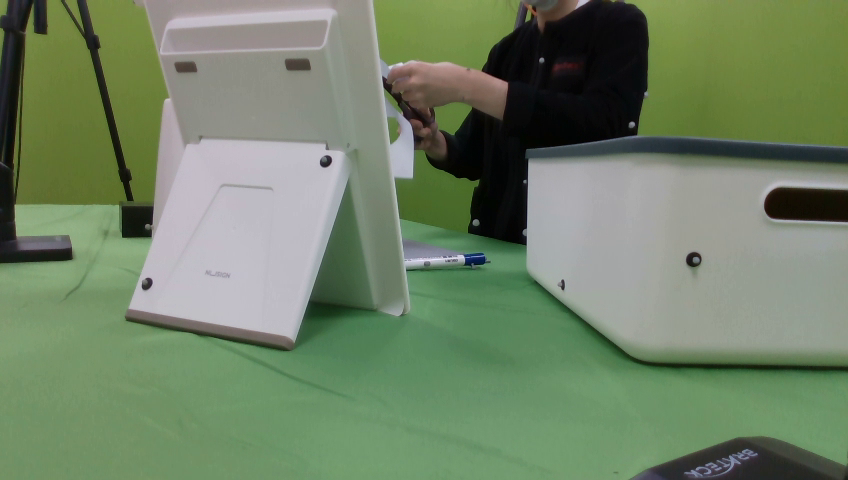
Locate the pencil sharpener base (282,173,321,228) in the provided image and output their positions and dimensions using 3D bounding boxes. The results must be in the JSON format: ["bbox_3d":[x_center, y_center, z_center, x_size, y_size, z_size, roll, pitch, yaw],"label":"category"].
[{"bbox_3d":[-0.247,-0.080,1.212,0.061,0.107,0.076,-2,5,-28],"label":"pencil sharpener base"}]

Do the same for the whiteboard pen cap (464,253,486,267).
[{"bbox_3d":[0.066,0.027,0.818,0.033,0.018,0.018,-5,10,-24],"label":"whiteboard pen cap"}]

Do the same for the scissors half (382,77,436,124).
[{"bbox_3d":[-0.035,-0.253,1.051,0.013,0.040,0.176,9,-11,43],"label":"scissors half"}]

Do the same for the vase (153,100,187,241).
[{"bbox_3d":[-0.278,-0.066,0.736,0.098,0.200,0.098,2,9,0],"label":"vase"}]

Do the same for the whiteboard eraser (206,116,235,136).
[{"bbox_3d":[-0.450,-0.252,1.335,0.056,0.042,0.112,1,7,-22],"label":"whiteboard eraser"}]

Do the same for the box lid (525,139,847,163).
[{"bbox_3d":[0.261,-0.078,0.580,0.264,0.015,0.371,2,7,-4],"label":"box lid"}]

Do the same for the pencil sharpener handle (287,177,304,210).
[{"bbox_3d":[-0.269,-0.096,1.257,0.036,0.067,0.030,-9,8,-27],"label":"pencil sharpener handle"}]

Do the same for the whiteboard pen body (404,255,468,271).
[{"bbox_3d":[0.013,0.030,0.792,0.141,0.017,0.017,-3,9,-24],"label":"whiteboard pen body"}]

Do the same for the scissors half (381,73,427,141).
[{"bbox_3d":[-0.045,-0.235,1.046,0.012,0.040,0.176,16,-27,45],"label":"scissors half"}]

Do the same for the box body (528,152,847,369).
[{"bbox_3d":[0.258,-0.005,0.591,0.254,0.160,0.363,2,7,-4],"label":"box body"}]

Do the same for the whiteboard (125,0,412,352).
[{"bbox_3d":[-0.151,-0.049,0.472,0.216,0.305,0.144,6,27,24],"label":"whiteboard"}]

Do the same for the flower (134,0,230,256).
[{"bbox_3d":[-0.282,-0.147,0.713,0.038,0.362,0.044,-23,24,-31],"label":"flower"}]

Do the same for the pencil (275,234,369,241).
[{"bbox_3d":[-0.169,-0.006,1.036,0.195,0.012,0.012,-2,8,-45],"label":"pencil"}]
